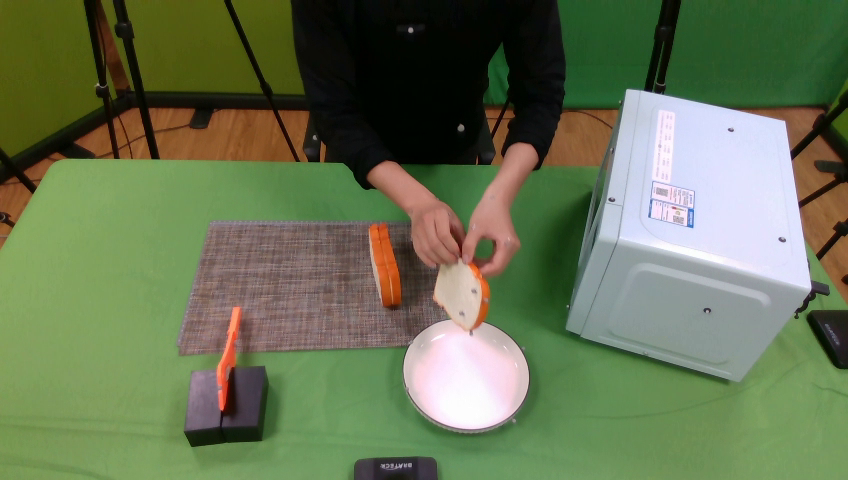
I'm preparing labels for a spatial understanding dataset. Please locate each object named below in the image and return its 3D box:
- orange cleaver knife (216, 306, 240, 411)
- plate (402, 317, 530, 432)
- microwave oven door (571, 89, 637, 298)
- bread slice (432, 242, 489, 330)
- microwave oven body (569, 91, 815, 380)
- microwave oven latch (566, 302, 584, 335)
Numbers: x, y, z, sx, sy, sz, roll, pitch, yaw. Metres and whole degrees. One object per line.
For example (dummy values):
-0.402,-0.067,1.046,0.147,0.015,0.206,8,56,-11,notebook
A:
-0.307,0.180,0.957,0.012,0.077,0.210,-2,25,-8,orange cleaver knife
0.066,0.217,0.982,0.208,0.039,0.206,2,46,-2,plate
0.343,-0.091,1.133,0.039,0.245,0.354,15,47,10,microwave oven door
0.057,0.075,0.944,0.018,0.107,0.133,-3,25,-28,bread slice
0.468,-0.022,1.082,0.325,0.261,0.440,15,46,11,microwave oven body
0.268,0.126,1.059,0.030,0.029,0.079,16,46,12,microwave oven latch
